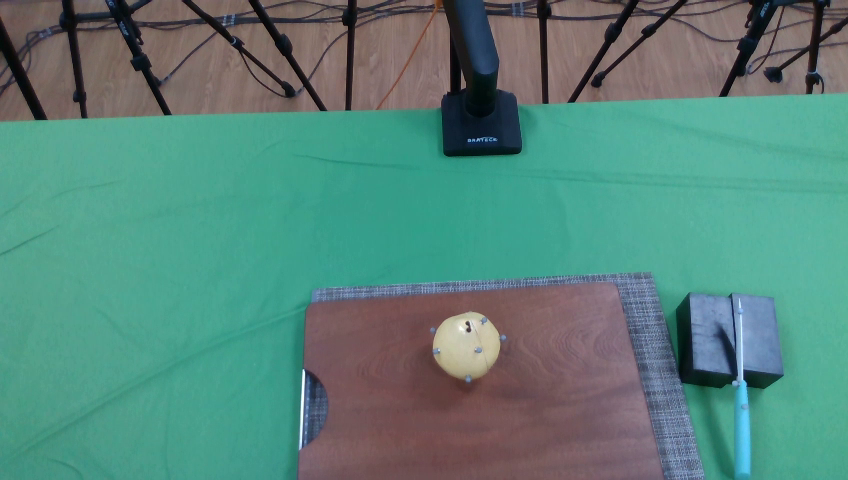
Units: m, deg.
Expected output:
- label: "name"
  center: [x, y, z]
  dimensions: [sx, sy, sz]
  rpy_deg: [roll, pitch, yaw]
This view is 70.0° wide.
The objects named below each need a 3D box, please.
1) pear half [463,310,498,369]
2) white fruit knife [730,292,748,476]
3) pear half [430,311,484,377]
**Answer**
- label: "pear half"
  center: [0.068, 0.108, 0.699]
  dimensions: [0.031, 0.089, 0.069]
  rpy_deg: [-23, 57, -11]
- label: "white fruit knife"
  center: [0.355, 0.163, 0.689]
  dimensions: [0.016, 0.027, 0.206]
  rpy_deg: [1, 81, 11]
- label: "pear half"
  center: [0.035, 0.116, 0.684]
  dimensions: [0.056, 0.111, 0.075]
  rpy_deg: [-23, 59, -11]
